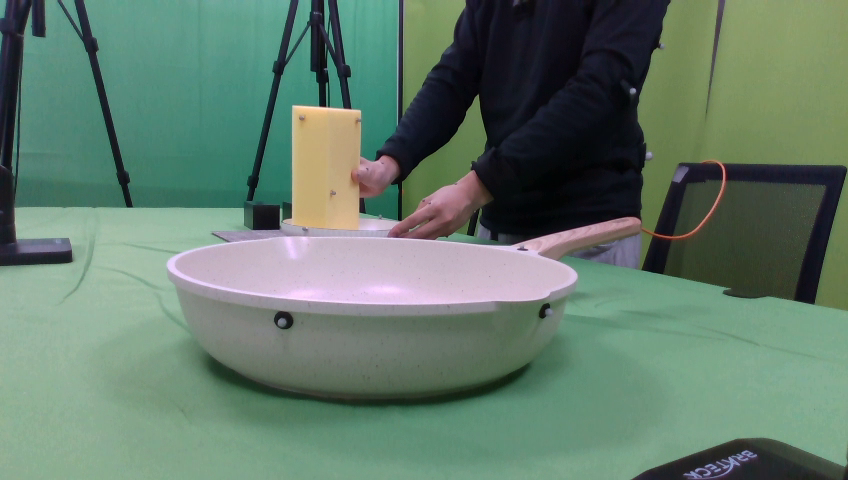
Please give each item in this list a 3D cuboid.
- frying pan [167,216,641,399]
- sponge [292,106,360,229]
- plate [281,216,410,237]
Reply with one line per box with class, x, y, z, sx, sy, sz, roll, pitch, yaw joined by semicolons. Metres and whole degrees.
frying pan;0.046;0.024;0.520;0.490;0.102;0.305;-14;16;-37
sponge;-0.153;-0.104;0.953;0.061;0.206;0.118;6;13;16
plate;-0.126;-0.012;0.986;0.208;0.039;0.207;2;7;0
